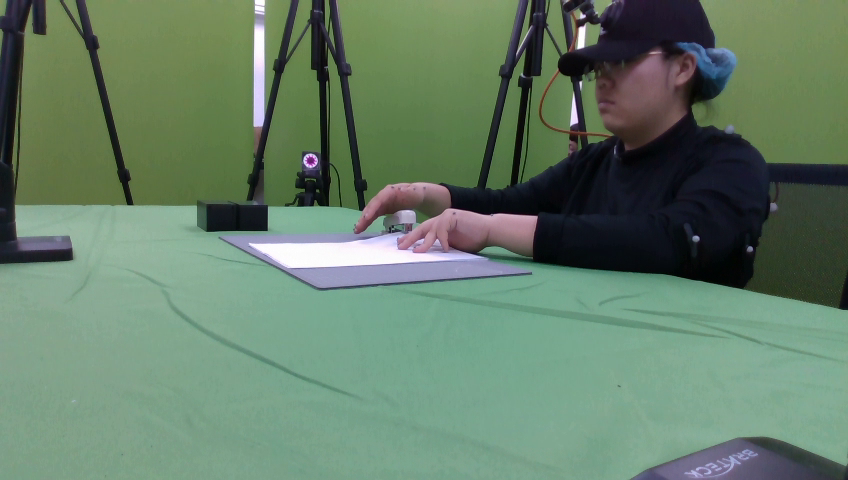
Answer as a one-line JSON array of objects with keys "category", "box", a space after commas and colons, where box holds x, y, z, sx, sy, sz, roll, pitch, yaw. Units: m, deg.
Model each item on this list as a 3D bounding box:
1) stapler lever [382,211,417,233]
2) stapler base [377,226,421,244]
[{"category": "stapler lever", "box": [-0.044, -0.035, 1.072, 0.027, 0.040, 0.117, 2, 6, -23]}, {"category": "stapler base", "box": [-0.044, -0.012, 1.074, 0.041, 0.024, 0.130, 2, 5, -23]}]
